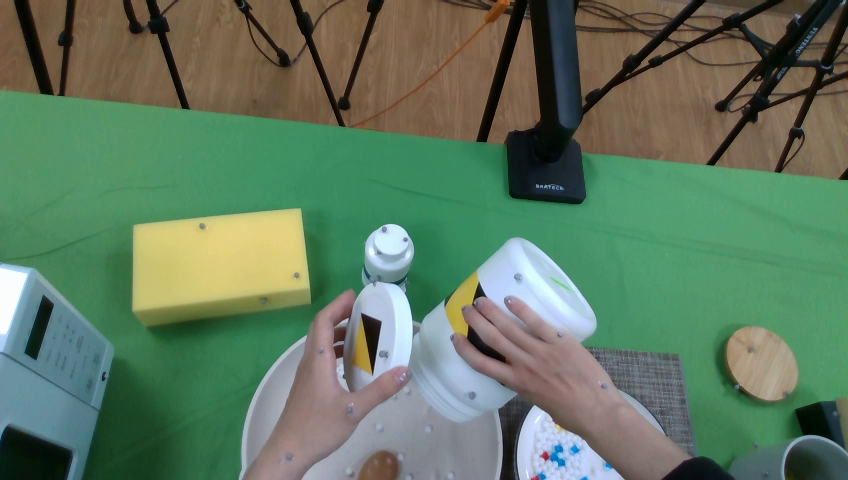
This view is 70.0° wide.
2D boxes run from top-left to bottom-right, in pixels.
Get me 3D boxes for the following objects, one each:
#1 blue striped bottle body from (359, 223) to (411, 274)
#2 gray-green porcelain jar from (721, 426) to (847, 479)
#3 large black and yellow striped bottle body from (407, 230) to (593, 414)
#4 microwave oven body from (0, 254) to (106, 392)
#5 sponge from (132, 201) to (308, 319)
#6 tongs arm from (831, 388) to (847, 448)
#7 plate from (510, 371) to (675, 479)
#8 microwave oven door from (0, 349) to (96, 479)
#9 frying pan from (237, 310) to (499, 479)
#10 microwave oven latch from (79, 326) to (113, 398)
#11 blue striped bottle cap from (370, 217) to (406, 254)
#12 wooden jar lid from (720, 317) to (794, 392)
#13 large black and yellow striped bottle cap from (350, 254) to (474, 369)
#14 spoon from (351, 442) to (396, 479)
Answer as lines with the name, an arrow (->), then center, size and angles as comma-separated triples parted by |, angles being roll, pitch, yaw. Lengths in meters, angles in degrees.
blue striped bottle body -> -0.051, 0.016, 0.790 | 0.063, 0.121, 0.062 | 4, 64, -8
gray-green porcelain jar -> 0.439, 0.290, 0.741 | 0.106, 0.127, 0.105 | 4, 64, -7
large black and yellow striped bottle body -> 0.075, 0.093, 0.663 | 0.184, 0.131, 0.130 | -44, 74, 18
microwave oven body -> -0.522, 0.243, 0.519 | 0.327, 0.261, 0.438 | 5, 65, -7
sponge -> -0.260, 0.024, 0.783 | 0.207, 0.061, 0.117 | -7, 66, -14
tongs arm -> 0.566, 0.376, 0.740 | 0.051, 0.026, 0.382 | 1, 75, -11
plate -> 0.206, 0.269, 0.756 | 0.209, 0.038, 0.207 | 4, 65, -7
microwave oven door -> -0.380, 0.292, 0.514 | 0.039, 0.245, 0.353 | 5, 64, -7
frying pan -> -0.020, 0.308, 0.662 | 0.307, 0.103, 0.483 | -17, 61, -16
microwave oven latch -> -0.383, 0.140, 0.699 | 0.030, 0.029, 0.078 | 5, 65, -7
blue striped bottle cap -> -0.044, -0.006, 0.743 | 0.044, 0.021, 0.044 | 4, 61, -6
wooden jar lid -> 0.472, 0.164, 0.866 | 0.108, 0.021, 0.107 | 4, 66, -7
large black and yellow striped bottle cap -> -0.010, 0.064, 0.553 | 0.115, 0.019, 0.114 | 12, 49, -14
spoon -> -0.095, 0.291, 0.664 | 0.041, 0.022, 0.193 | 46, 39, 8
